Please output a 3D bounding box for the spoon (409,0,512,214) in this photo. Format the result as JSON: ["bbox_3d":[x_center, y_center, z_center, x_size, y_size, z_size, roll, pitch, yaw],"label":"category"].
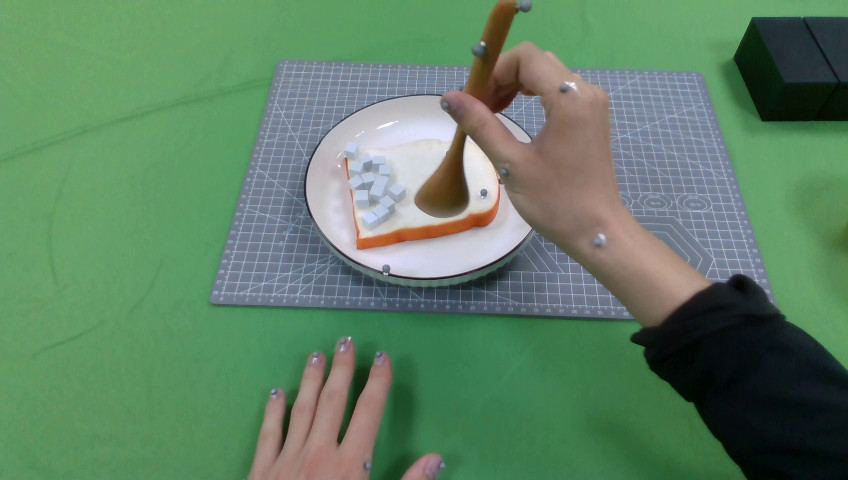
[{"bbox_3d":[0.021,-0.071,0.379,0.042,0.195,0.021,10,54,-4],"label":"spoon"}]

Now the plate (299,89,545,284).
[{"bbox_3d":[-0.001,-0.047,0.524,0.209,0.038,0.207,0,56,0],"label":"plate"}]

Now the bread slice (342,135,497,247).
[{"bbox_3d":[-0.003,-0.050,0.530,0.132,0.019,0.104,-11,57,-6],"label":"bread slice"}]
